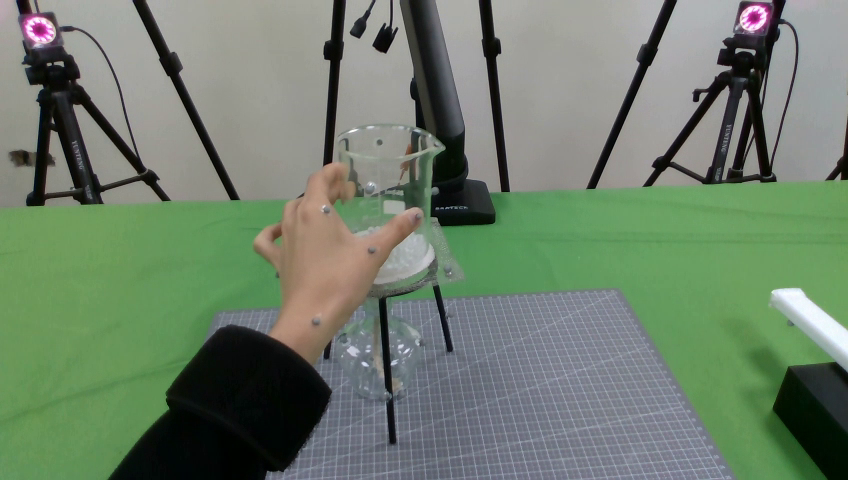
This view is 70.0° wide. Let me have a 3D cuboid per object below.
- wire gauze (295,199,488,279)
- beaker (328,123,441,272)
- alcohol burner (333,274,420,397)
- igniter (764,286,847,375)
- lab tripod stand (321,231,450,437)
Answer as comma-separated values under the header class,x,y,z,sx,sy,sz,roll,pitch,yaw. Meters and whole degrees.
class,x,y,z,sx,sy,sz,roll,pitch,yaw
wire gauze,-0.029,-0.002,0.490,0.125,0.011,0.120,-10,27,-29
beaker,-0.030,-0.032,0.474,0.084,0.101,0.073,-2,31,-5
alcohol burner,-0.042,0.079,0.536,0.078,0.120,0.077,2,31,-1
igniter,0.361,0.115,0.472,0.057,0.025,0.274,-3,28,-5
lab tripod stand,-0.033,0.072,0.529,0.148,0.132,0.147,1,32,0
